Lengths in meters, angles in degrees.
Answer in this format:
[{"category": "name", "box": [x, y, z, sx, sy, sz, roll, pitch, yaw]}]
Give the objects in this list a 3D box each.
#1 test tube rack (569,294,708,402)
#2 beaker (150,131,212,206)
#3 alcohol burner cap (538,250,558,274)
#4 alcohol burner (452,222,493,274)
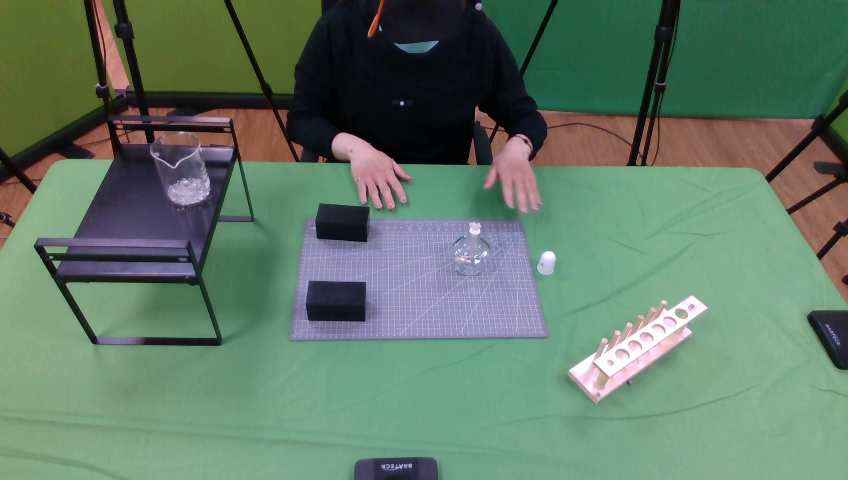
[{"category": "test tube rack", "box": [0.360, 0.167, 1.015, 0.242, 0.085, 0.066, -25, 52, -25]}, {"category": "beaker", "box": [-0.385, -0.110, 0.969, 0.074, 0.101, 0.083, -6, 48, -9]}, {"category": "alcohol burner cap", "box": [0.238, 0.039, 1.159, 0.034, 0.048, 0.033, 3, 46, -3]}, {"category": "alcohol burner", "box": [0.091, 0.008, 1.124, 0.078, 0.119, 0.077, 2, 48, -2]}]
